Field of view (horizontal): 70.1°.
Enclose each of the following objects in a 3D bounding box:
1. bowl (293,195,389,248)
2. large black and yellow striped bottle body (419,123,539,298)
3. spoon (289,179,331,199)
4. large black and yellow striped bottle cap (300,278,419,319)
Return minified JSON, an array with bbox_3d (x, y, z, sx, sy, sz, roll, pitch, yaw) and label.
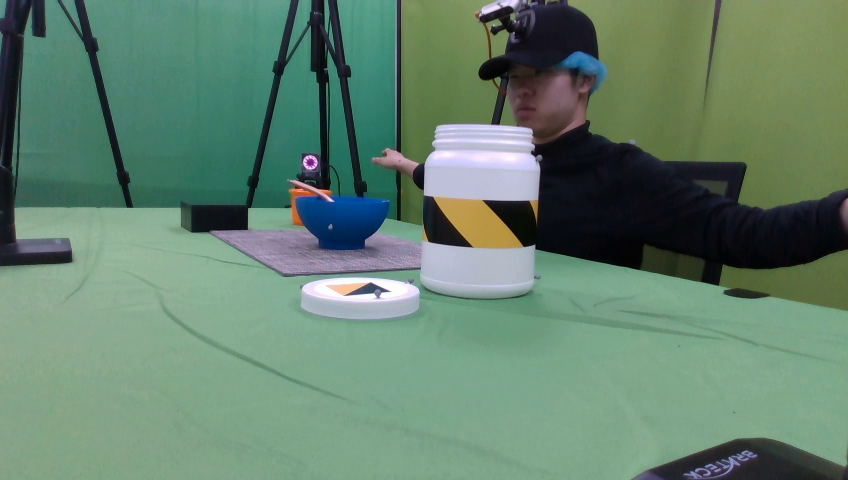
[{"bbox_3d":[-0.132,-0.030,0.961,0.151,0.077,0.151,2,7,0],"label":"bowl"},{"bbox_3d":[0.062,-0.036,0.683,0.131,0.184,0.130,2,7,0],"label":"large black and yellow striped bottle body"},{"bbox_3d":[-0.167,-0.071,1.002,0.042,0.021,0.192,-8,30,-44],"label":"spoon"},{"bbox_3d":[-0.062,0.055,0.588,0.115,0.019,0.115,1,6,0],"label":"large black and yellow striped bottle cap"}]
